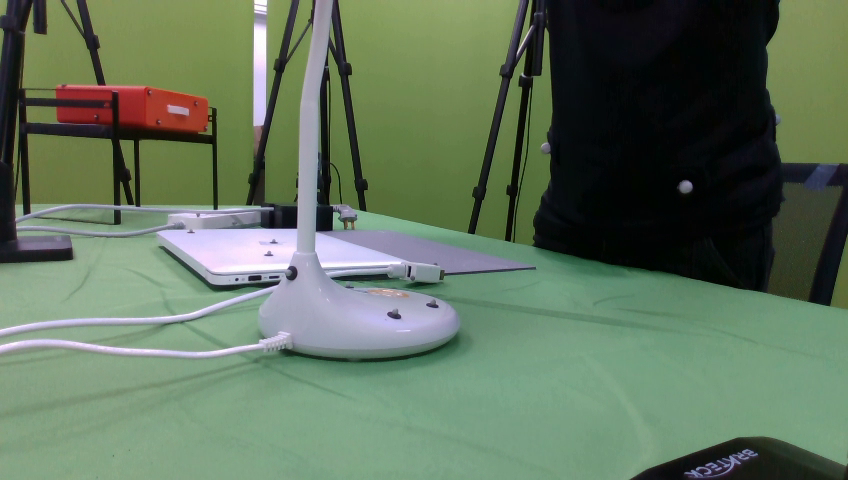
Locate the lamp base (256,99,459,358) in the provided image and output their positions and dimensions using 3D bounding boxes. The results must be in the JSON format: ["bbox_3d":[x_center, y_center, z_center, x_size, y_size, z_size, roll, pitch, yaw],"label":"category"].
[{"bbox_3d":[-0.055,-0.013,0.463,0.160,0.180,0.180,6,11,27],"label":"lamp base"}]

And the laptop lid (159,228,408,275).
[{"bbox_3d":[-0.201,0.007,0.806,0.243,0.013,0.355,-1,8,-31],"label":"laptop lid"}]

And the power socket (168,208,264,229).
[{"bbox_3d":[-0.381,-0.038,1.128,0.072,0.032,0.227,4,8,16],"label":"power socket"}]

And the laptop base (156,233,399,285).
[{"bbox_3d":[-0.204,0.019,0.806,0.237,0.023,0.352,0,7,-33],"label":"laptop base"}]

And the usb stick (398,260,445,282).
[{"bbox_3d":[-0.001,0.036,0.696,0.027,0.021,0.059,7,0,43],"label":"usb stick"}]

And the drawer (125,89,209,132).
[{"bbox_3d":[-0.595,-0.268,1.263,0.211,0.073,0.195,4,8,15],"label":"drawer"}]

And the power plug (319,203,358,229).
[{"bbox_3d":[-0.170,-0.046,1.210,0.073,0.052,0.035,-6,-16,-7],"label":"power plug"}]

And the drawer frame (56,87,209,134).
[{"bbox_3d":[-0.598,-0.269,1.261,0.213,0.082,0.202,4,8,14],"label":"drawer frame"}]

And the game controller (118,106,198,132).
[{"bbox_3d":[-0.554,-0.252,1.255,0.097,0.051,0.155,7,11,19],"label":"game controller"}]
